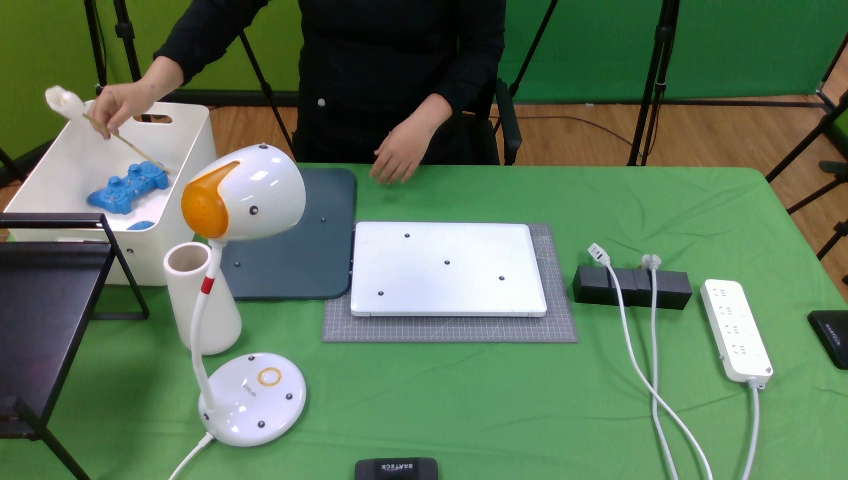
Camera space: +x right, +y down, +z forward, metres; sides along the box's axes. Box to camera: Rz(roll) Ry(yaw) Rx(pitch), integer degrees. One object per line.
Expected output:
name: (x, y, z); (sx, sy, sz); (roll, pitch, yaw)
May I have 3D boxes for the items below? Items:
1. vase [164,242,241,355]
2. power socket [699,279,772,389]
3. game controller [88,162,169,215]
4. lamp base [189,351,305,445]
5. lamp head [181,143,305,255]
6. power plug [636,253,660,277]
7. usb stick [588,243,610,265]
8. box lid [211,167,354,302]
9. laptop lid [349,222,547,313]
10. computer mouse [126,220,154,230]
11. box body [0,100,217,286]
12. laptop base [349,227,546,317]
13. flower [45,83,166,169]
vase: (-0.349, 0.096, 0.954); (0.098, 0.201, 0.097); (3, 47, -3)
power socket: (0.551, 0.157, 1.081); (0.072, 0.033, 0.225); (5, 46, 1)
game controller: (-0.597, -0.113, 1.234); (0.097, 0.052, 0.155); (29, 51, 20)
lamp base: (-0.268, 0.196, 0.876); (0.160, 0.181, 0.179); (26, 52, 20)
lamp head: (-0.216, -0.044, 0.697); (0.112, 0.113, 0.123); (23, 31, 17)
power plug: (0.415, 0.050, 1.139); (0.035, 0.053, 0.072); (45, 49, 10)
usb stick: (0.336, 0.024, 1.172); (0.027, 0.021, 0.059); (33, 17, -12)
box lid: (-0.277, -0.024, 1.205); (0.263, 0.015, 0.369); (0, 46, -4)
laptop lid: (0.041, 0.046, 1.143); (0.357, 0.013, 0.240); (2, 44, -3)
computer mouse: (-0.537, 0.008, 1.127); (0.062, 0.041, 0.117); (32, 56, 20)
box body: (-0.560, -0.092, 1.145); (0.254, 0.161, 0.361); (3, 46, -2)
laptop base: (0.040, 0.055, 1.149); (0.355, 0.023, 0.234); (1, 42, -4)
flower: (-0.544, -0.185, 1.081); (0.044, 0.362, 0.038); (15, 80, 5)
